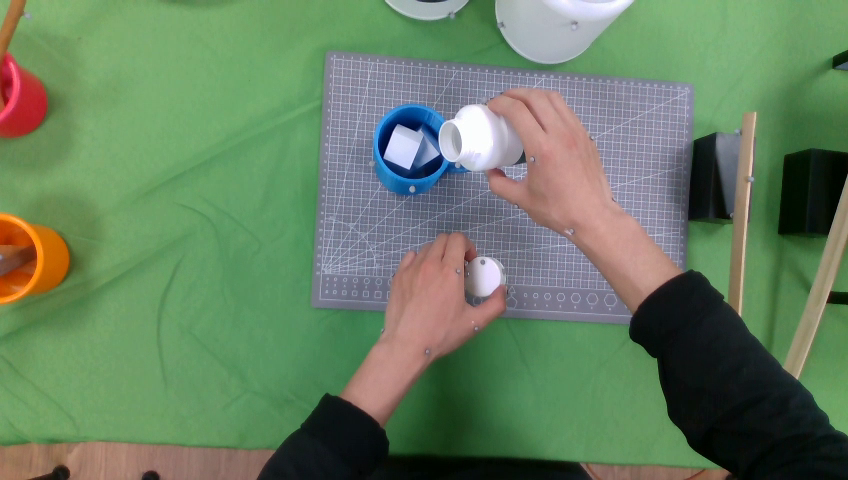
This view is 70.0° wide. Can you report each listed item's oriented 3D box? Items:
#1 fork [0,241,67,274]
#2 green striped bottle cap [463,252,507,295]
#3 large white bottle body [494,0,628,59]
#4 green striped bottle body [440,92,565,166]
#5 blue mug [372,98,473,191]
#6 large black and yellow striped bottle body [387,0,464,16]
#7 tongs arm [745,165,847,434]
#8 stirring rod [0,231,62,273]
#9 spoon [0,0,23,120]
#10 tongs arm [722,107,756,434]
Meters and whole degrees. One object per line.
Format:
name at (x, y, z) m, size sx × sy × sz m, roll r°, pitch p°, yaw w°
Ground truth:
fork at (-0.465, -0.002, 0.597) m, size 0.209 × 0.018 × 0.028 m, roll 25°, pitch 83°, yaw -48°
green striped bottle cap at (0.064, 0.035, 0.636) m, size 0.044 × 0.020 × 0.044 m, roll -5°, pitch 79°, yaw 23°
large white bottle body at (0.155, -0.284, 0.644) m, size 0.131 × 0.184 × 0.130 m, roll 0°, pitch 89°, yaw -5°
green striped bottle body at (0.074, -0.107, 0.586) m, size 0.120 × 0.063 × 0.063 m, roll -14°, pitch 90°, yaw -32°
blue mug at (0.001, -0.098, 0.663) m, size 0.117 × 0.106 × 0.082 m, roll 11°, pitch 87°, yaw -5°
large black and yellow striped bottle body at (0.007, -0.330, 0.631) m, size 0.131 × 0.184 × 0.130 m, roll 0°, pitch 88°, yaw -5°
tongs arm at (0.457, 0.049, 0.712) m, size 0.028 × 0.027 × 0.388 m, roll 11°, pitch 100°, yaw -14°
stirring rod at (-0.444, 0.037, 0.604) m, size 0.014 × 0.006 × 0.175 m, roll 51°, pitch 43°, yaw -6°
spoon at (-0.425, -0.183, 0.606) m, size 0.041 × 0.021 × 0.194 m, roll 50°, pitch 128°, yaw 1°
tongs arm at (0.376, 0.043, 0.701) m, size 0.051 × 0.026 × 0.386 m, roll -1°, pitch 101°, yaw -8°
